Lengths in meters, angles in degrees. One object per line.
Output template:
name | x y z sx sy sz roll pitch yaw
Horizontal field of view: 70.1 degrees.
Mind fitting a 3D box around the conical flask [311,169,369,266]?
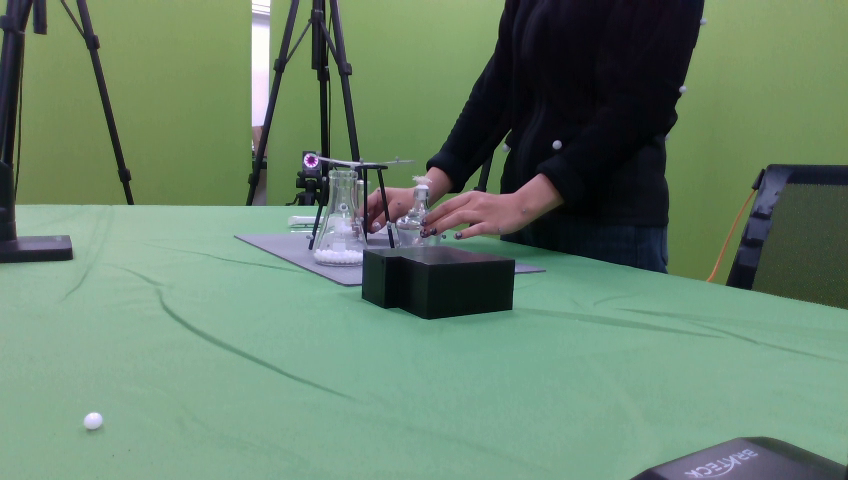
conical flask | -0.107 -0.031 0.786 0.075 0.122 0.075 2 8 0

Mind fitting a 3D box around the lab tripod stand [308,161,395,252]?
lab tripod stand | -0.098 -0.053 0.918 0.148 0.131 0.148 4 7 0

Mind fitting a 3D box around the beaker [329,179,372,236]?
beaker | -0.137 -0.061 1.101 0.084 0.100 0.074 4 7 21

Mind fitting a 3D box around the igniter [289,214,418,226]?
igniter | -0.141 -0.042 1.258 0.278 0.025 0.057 -1 -2 -30

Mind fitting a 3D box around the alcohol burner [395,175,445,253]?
alcohol burner | -0.005 -0.040 0.930 0.078 0.119 0.078 2 10 0

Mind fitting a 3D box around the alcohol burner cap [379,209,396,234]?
alcohol burner cap | -0.069 -0.036 1.154 0.034 0.048 0.034 2 7 0

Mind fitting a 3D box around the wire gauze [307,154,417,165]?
wire gauze | -0.094 -0.120 0.913 0.122 0.011 0.124 -5 11 -45

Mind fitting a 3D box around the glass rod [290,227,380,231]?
glass rod | -0.161 -0.022 1.177 0.201 0.008 0.008 -2 8 -28
